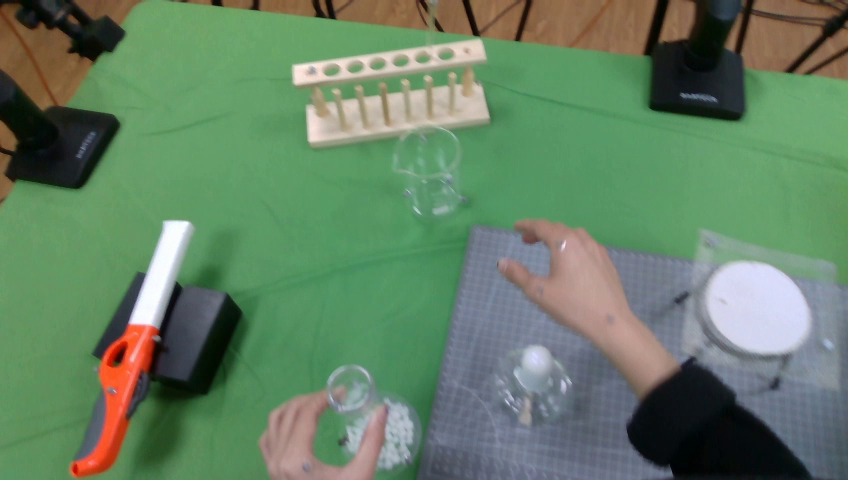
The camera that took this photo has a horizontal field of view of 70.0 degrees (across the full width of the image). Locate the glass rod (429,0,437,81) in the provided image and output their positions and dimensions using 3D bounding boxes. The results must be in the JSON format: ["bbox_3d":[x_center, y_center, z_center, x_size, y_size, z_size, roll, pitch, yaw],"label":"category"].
[{"bbox_3d":[0.011,-0.244,0.742,0.008,0.201,0.008,1,60,-1],"label":"glass rod"}]

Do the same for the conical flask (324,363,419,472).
[{"bbox_3d":[-0.049,0.143,0.507,0.075,0.123,0.074,-5,56,7],"label":"conical flask"}]

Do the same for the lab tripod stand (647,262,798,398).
[{"bbox_3d":[0.286,0.090,0.580,0.148,0.132,0.147,-1,59,2],"label":"lab tripod stand"}]

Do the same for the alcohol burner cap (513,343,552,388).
[{"bbox_3d":[0.101,0.111,0.550,0.034,0.048,0.033,0,54,0],"label":"alcohol burner cap"}]

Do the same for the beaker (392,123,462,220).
[{"bbox_3d":[0.006,-0.075,0.716,0.084,0.101,0.073,-28,62,-11],"label":"beaker"}]

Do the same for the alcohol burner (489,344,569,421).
[{"bbox_3d":[0.103,0.131,0.581,0.078,0.120,0.077,-1,59,1],"label":"alcohol burner"}]

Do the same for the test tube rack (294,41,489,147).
[{"bbox_3d":[-0.039,-0.189,0.791,0.242,0.086,0.066,-8,60,-1],"label":"test tube rack"}]

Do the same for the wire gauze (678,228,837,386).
[{"bbox_3d":[0.290,0.054,0.522,0.121,0.011,0.124,15,63,11],"label":"wire gauze"}]

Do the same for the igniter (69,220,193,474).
[{"bbox_3d":[-0.295,0.099,0.625,0.057,0.025,0.274,1,59,10],"label":"igniter"}]
